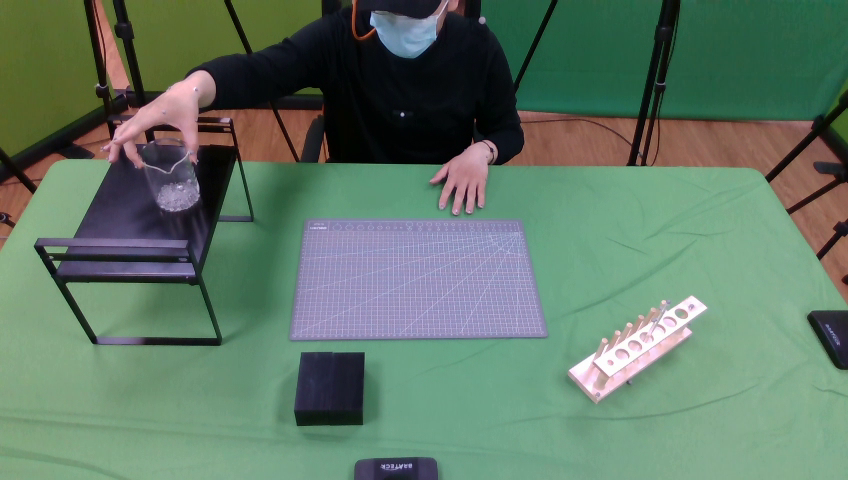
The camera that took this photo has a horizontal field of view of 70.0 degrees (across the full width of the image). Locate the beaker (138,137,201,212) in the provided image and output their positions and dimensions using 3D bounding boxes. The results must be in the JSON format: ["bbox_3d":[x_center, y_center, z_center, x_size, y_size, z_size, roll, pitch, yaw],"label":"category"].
[{"bbox_3d":[-0.397,-0.099,0.957,0.074,0.101,0.083,-17,50,-18],"label":"beaker"}]

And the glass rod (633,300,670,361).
[{"bbox_3d":[0.351,0.144,0.944,0.008,0.201,0.008,-1,55,1],"label":"glass rod"}]

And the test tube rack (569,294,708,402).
[{"bbox_3d":[0.360,0.167,1.014,0.242,0.085,0.066,-25,53,-25],"label":"test tube rack"}]
